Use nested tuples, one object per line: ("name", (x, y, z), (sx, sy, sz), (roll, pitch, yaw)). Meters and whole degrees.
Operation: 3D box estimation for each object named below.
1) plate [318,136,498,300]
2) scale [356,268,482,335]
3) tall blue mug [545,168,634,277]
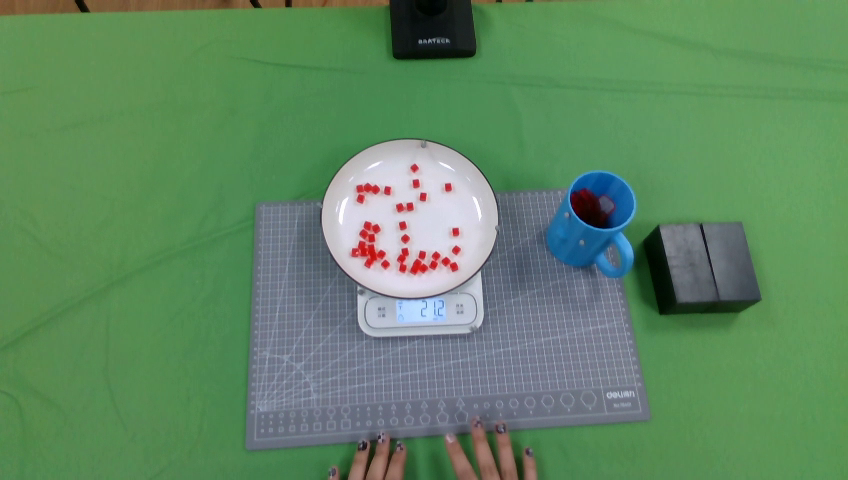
("plate", (-0.018, -0.025, 0.714), (0.209, 0.038, 0.207), (1, 68, -3))
("scale", (-0.008, 0.013, 0.734), (0.149, 0.032, 0.199), (-2, 68, -3))
("tall blue mug", (0.205, -0.017, 0.715), (0.107, 0.108, 0.077), (33, 70, 11))
